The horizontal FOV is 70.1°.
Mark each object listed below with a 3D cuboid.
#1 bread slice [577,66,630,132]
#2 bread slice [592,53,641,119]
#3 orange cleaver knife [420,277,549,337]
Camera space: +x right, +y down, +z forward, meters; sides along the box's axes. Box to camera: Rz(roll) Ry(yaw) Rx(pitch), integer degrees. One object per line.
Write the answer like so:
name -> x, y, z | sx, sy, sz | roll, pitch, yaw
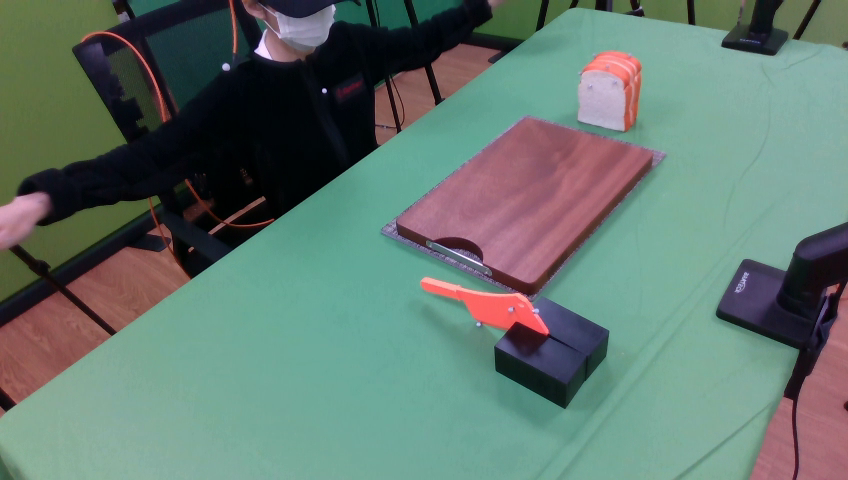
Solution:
bread slice -> 0.341, -0.271, 1.159 | 0.104, 0.132, 0.019 | 21, 56, 31
bread slice -> 0.373, -0.302, 1.186 | 0.106, 0.135, 0.018 | 23, 55, 24
orange cleaver knife -> 0.076, 0.089, 0.812 | 0.209, 0.077, 0.012 | 9, 44, 47
